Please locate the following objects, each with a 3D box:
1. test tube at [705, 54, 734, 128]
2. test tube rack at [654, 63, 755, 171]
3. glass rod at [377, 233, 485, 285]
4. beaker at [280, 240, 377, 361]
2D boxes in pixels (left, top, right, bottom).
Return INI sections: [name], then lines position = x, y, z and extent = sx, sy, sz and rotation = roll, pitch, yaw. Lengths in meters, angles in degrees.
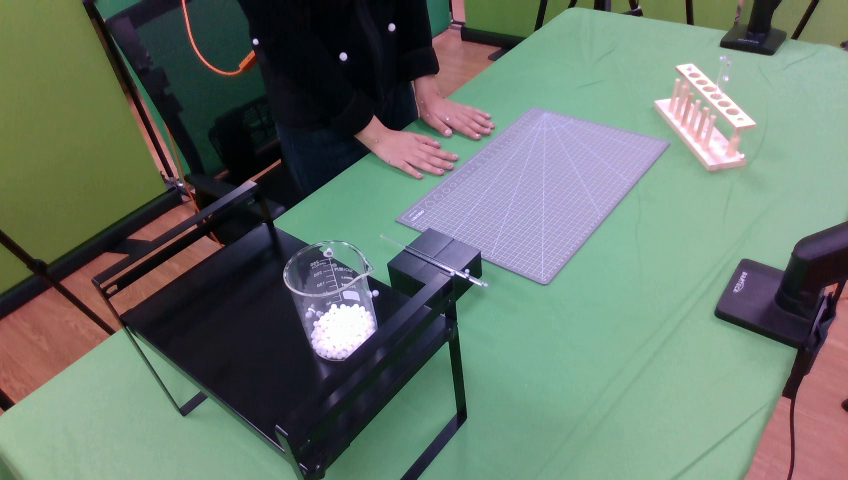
[test tube]
position = 0.523, -0.260, 1.073
extent = 0.017, 0.151, 0.017
rotation = -4, 46, 4
[test tube rack]
position = 0.510, -0.233, 1.120
extent = 0.067, 0.085, 0.241
rotation = -8, 41, -1
[glass rod]
position = 0.005, 0.025, 0.877
extent = 0.198, 0.008, 0.008
rotation = 24, 50, 31
[beaker]
position = -0.084, 0.061, 0.580
extent = 0.084, 0.101, 0.073
rotation = -3, 41, 5
